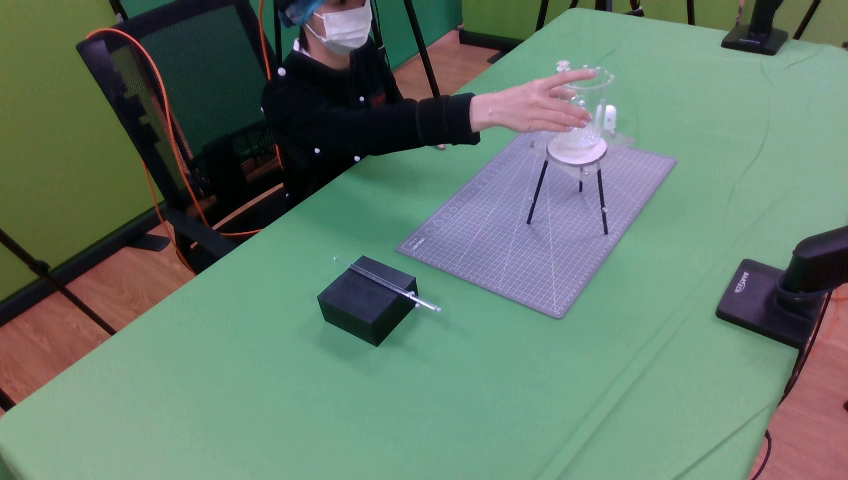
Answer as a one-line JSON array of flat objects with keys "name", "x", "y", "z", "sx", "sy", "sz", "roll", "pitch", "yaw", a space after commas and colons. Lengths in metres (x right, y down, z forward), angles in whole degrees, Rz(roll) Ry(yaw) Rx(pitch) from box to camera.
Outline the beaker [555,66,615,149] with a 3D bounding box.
[{"name": "beaker", "x": 0.231, "y": -0.191, "z": 0.882, "sx": 0.084, "sy": 0.100, "sz": 0.073, "roll": -6, "pitch": 40, "yaw": -1}]

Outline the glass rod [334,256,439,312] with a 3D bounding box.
[{"name": "glass rod", "x": -0.058, "y": 0.060, "z": 0.850, "sx": 0.198, "sy": 0.008, "sz": 0.008, "roll": 24, "pitch": 49, "yaw": 33}]

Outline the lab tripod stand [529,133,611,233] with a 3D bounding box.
[{"name": "lab tripod stand", "x": 0.236, "y": -0.089, "z": 0.953, "sx": 0.148, "sy": 0.132, "sz": 0.147, "roll": -5, "pitch": 42, "yaw": 5}]

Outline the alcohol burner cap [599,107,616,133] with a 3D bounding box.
[{"name": "alcohol burner cap", "x": 0.361, "y": -0.239, "z": 1.189, "sx": 0.034, "sy": 0.048, "sz": 0.033, "roll": -4, "pitch": 40, "yaw": 4}]

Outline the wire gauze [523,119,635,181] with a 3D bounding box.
[{"name": "wire gauze", "x": 0.233, "y": -0.143, "z": 0.913, "sx": 0.122, "sy": 0.011, "sz": 0.124, "roll": -32, "pitch": 45, "yaw": -25}]

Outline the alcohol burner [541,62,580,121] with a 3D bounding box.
[{"name": "alcohol burner", "x": 0.277, "y": -0.302, "z": 1.222, "sx": 0.078, "sy": 0.119, "sz": 0.077, "roll": -4, "pitch": 38, "yaw": 4}]
